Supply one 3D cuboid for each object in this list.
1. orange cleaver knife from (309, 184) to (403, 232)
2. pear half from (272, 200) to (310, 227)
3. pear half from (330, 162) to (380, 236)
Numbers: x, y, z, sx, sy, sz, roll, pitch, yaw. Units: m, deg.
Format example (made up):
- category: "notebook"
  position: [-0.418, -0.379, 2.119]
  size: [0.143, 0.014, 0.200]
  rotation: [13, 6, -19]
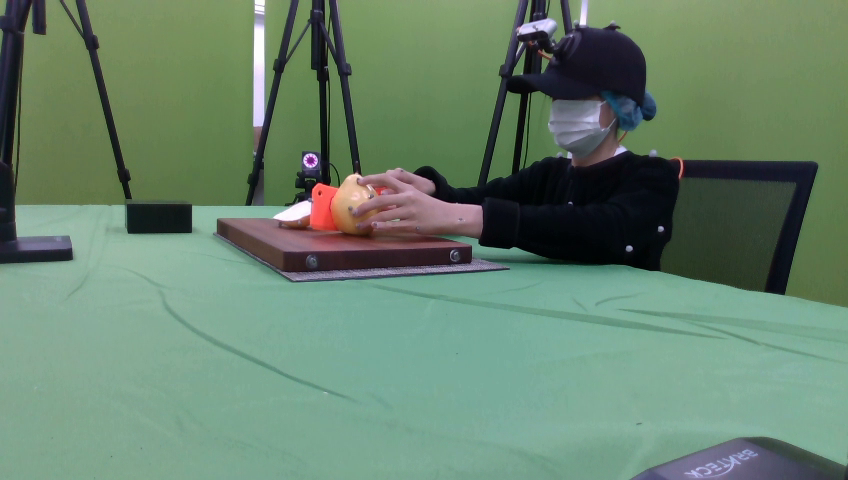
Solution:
- category: "orange cleaver knife"
  position: [-0.103, -0.053, 0.951]
  size: [0.012, 0.077, 0.212]
  rotation: [-6, 3, 38]
- category: "pear half"
  position: [-0.195, -0.037, 0.961]
  size: [0.088, 0.031, 0.070]
  rotation: [-17, 18, 11]
- category: "pear half"
  position: [-0.096, -0.060, 0.896]
  size: [0.055, 0.110, 0.077]
  rotation: [9, 14, 42]
